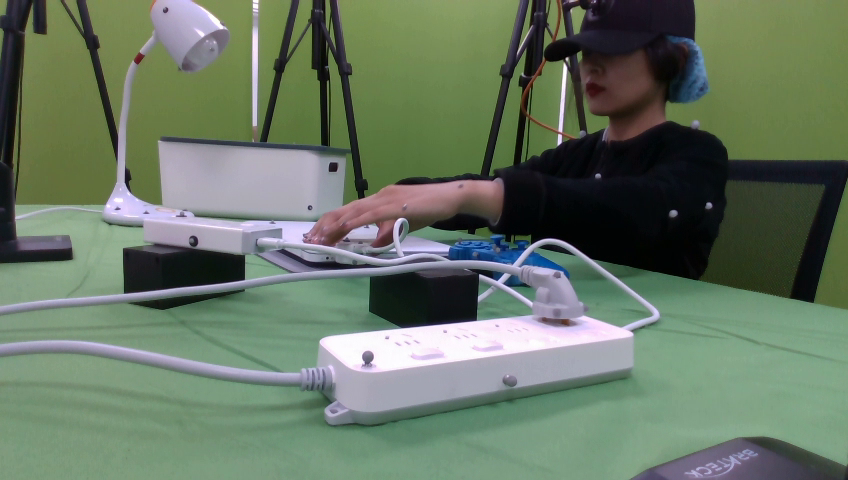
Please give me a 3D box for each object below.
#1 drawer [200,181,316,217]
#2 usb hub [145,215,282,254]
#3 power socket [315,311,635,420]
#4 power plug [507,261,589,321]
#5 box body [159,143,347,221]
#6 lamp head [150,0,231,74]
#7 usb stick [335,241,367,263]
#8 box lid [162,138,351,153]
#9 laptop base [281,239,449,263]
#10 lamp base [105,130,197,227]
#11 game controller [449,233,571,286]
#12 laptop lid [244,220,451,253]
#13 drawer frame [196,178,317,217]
[{"bbox_3d":[-0.372,-0.097,1.393,0.212,0.073,0.194,1,9,6],"label":"drawer"},{"bbox_3d":[-0.200,-0.006,0.573,0.125,0.025,0.050,6,7,23],"label":"usb hub"},{"bbox_3d":[0.039,0.072,0.385,0.228,0.032,0.072,-2,7,-29],"label":"power socket"},{"bbox_3d":[0.091,0.043,0.444,0.035,0.052,0.072,-1,5,-18],"label":"power plug"},{"bbox_3d":[-0.384,-0.137,1.406,0.364,0.160,0.254,3,8,7],"label":"box body"},{"bbox_3d":[-0.432,-0.374,1.086,0.123,0.112,0.112,42,8,-2],"label":"lamp head"},{"bbox_3d":[-0.093,0.015,0.742,0.021,0.027,0.059,-2,0,-35],"label":"usb stick"},{"bbox_3d":[-0.371,-0.215,1.394,0.371,0.015,0.263,4,8,7],"label":"box lid"},{"bbox_3d":[-0.127,0.003,0.946,0.237,0.023,0.352,2,6,-31],"label":"laptop base"},{"bbox_3d":[-0.532,-0.120,1.153,0.179,0.180,0.161,1,7,8],"label":"lamp base"},{"bbox_3d":[0.101,0.021,0.760,0.097,0.051,0.154,-7,11,-30],"label":"game controller"},{"bbox_3d":[-0.124,-0.009,0.945,0.243,0.013,0.355,1,7,-29],"label":"laptop lid"},{"bbox_3d":[-0.376,-0.101,1.393,0.213,0.082,0.202,1,8,6],"label":"drawer frame"}]
